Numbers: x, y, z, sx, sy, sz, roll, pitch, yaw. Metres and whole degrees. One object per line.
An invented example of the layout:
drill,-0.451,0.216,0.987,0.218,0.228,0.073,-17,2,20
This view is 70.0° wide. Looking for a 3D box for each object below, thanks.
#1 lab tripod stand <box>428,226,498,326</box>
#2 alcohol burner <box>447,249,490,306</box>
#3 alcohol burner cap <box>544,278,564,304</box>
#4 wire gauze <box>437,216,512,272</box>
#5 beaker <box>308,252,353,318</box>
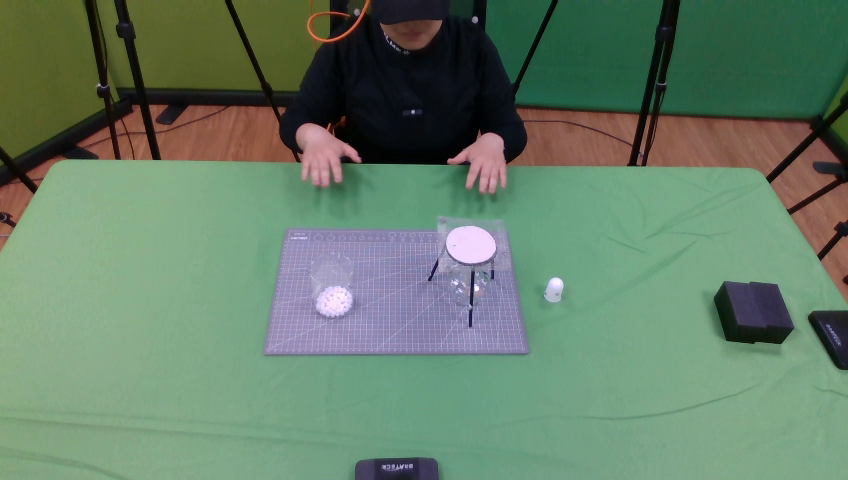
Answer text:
lab tripod stand,0.079,0.056,1.070,0.148,0.132,0.147,3,47,-3
alcohol burner,0.079,0.062,1.078,0.078,0.120,0.077,1,45,-1
alcohol burner cap,0.241,0.090,1.117,0.034,0.048,0.033,2,45,-1
wire gauze,0.083,0.006,1.025,0.121,0.011,0.124,2,47,-4
beaker,-0.159,0.080,1.052,0.074,0.101,0.083,11,46,6
